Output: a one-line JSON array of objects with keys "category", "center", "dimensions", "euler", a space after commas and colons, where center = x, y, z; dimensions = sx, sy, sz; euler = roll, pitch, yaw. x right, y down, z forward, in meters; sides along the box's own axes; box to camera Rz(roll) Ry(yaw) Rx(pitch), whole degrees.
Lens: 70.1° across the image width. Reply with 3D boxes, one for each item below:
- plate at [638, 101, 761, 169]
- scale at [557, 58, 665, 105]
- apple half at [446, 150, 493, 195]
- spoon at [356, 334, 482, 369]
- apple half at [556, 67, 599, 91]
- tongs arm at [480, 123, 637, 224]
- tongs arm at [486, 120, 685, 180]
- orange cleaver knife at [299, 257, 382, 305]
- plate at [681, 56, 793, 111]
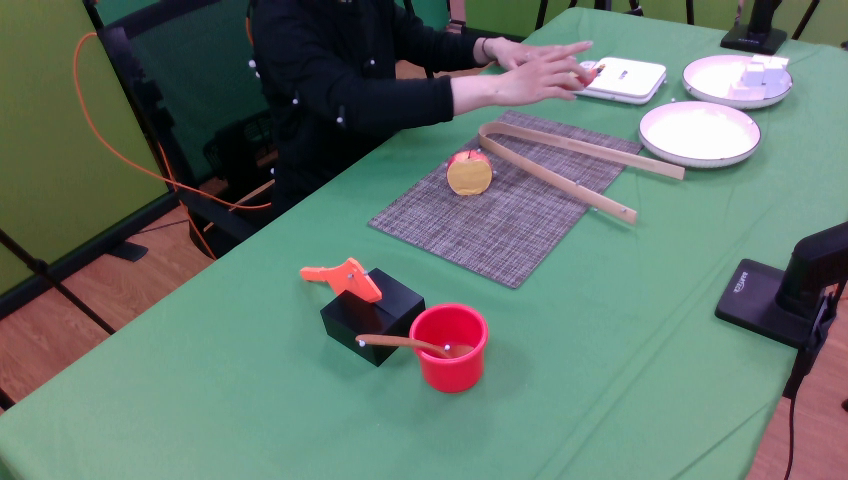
[{"category": "plate", "center": [0.500, -0.189, 1.111], "dimensions": [0.209, 0.038, 0.208], "euler": [-4, 41, 4]}, {"category": "scale", "center": [0.407, -0.348, 1.314], "dimensions": [0.199, 0.032, 0.149], "euler": [19, 47, 28]}, {"category": "apple half", "center": [0.080, -0.124, 1.065], "dimensions": [0.081, 0.075, 0.053], "euler": [-7, 37, 6]}, {"category": "spoon", "center": [-0.001, 0.130, 0.731], "dimensions": [0.195, 0.021, 0.041], "euler": [21, 28, -39]}, {"category": "apple half", "center": [0.287, -0.294, 1.125], "dimensions": [0.081, 0.033, 0.081], "euler": [-18, 15, 6]}, {"category": "tongs arm", "center": [0.227, -0.128, 1.080], "dimensions": [0.051, 0.026, 0.381], "euler": [-33, 46, -26]}, {"category": "tongs arm", "center": [0.287, -0.171, 1.123], "dimensions": [0.384, 0.028, 0.028], "euler": [21, 53, 29]}, {"category": "orange cleaver knife", "center": [-0.124, 0.061, 0.872], "dimensions": [0.012, 0.077, 0.210], "euler": [-38, 17, -30]}, {"category": "plate", "center": [0.636, -0.317, 1.239], "dimensions": [0.207, 0.039, 0.206], "euler": [-4, 40, 4]}]
